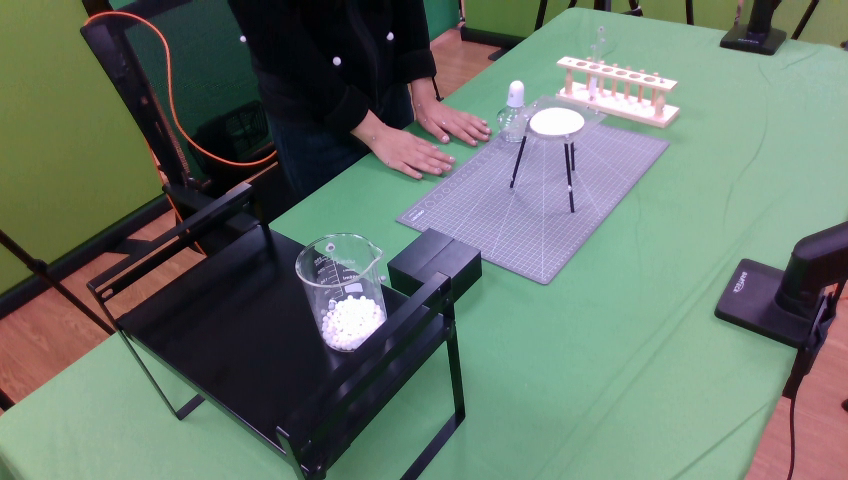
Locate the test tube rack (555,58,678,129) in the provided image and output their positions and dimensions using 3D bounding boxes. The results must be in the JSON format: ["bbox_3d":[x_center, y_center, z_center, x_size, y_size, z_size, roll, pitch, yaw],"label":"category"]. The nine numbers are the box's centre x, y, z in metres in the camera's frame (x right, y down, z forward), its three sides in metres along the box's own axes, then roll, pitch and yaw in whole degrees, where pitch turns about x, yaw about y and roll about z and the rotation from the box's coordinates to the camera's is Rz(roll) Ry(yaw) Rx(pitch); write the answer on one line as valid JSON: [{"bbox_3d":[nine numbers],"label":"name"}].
[{"bbox_3d":[0.390,-0.307,1.229,0.240,0.085,0.067,25,50,33],"label":"test tube rack"}]

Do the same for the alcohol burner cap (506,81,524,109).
[{"bbox_3d":[0.173,-0.277,1.144,0.034,0.048,0.033,0,38,1],"label":"alcohol burner cap"}]

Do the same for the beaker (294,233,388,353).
[{"bbox_3d":[-0.073,0.053,0.585,0.084,0.101,0.073,-13,41,-6],"label":"beaker"}]

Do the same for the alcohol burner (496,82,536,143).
[{"bbox_3d":[0.178,-0.250,1.168,0.078,0.119,0.077,-5,42,5],"label":"alcohol burner"}]

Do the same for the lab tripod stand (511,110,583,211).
[{"bbox_3d":[0.220,-0.138,1.014,0.148,0.132,0.147,-3,41,3],"label":"lab tripod stand"}]

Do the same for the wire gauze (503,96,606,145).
[{"bbox_3d":[0.211,-0.192,0.975,0.120,0.011,0.125,24,49,32],"label":"wire gauze"}]

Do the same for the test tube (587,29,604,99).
[{"bbox_3d":[0.342,-0.349,1.209,0.017,0.151,0.017,-3,46,4],"label":"test tube"}]
